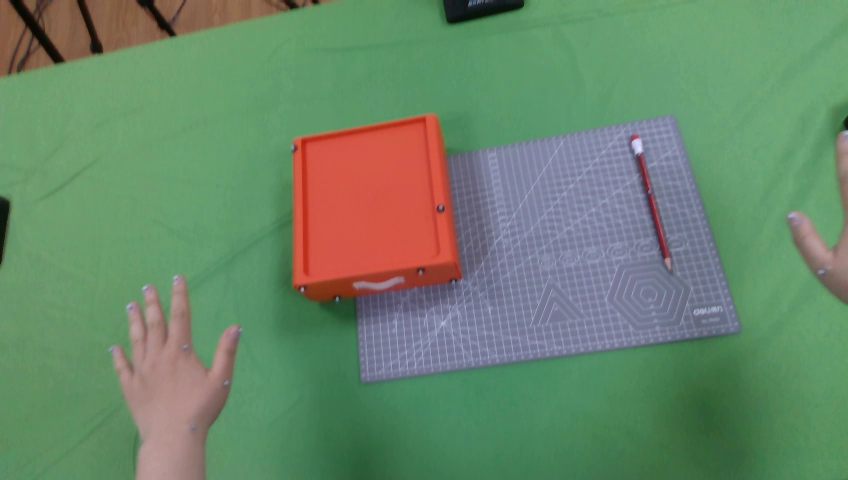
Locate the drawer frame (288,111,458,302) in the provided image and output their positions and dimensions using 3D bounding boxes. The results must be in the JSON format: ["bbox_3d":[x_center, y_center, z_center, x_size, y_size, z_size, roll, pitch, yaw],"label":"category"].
[{"bbox_3d":[-0.070,-0.041,0.779,0.201,0.083,0.212,-10,67,7],"label":"drawer frame"}]

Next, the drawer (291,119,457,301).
[{"bbox_3d":[-0.067,-0.038,0.779,0.194,0.074,0.210,-9,66,7],"label":"drawer"}]

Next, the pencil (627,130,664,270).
[{"bbox_3d":[0.280,-0.053,0.764,0.012,0.012,0.192,-8,70,7],"label":"pencil"}]
